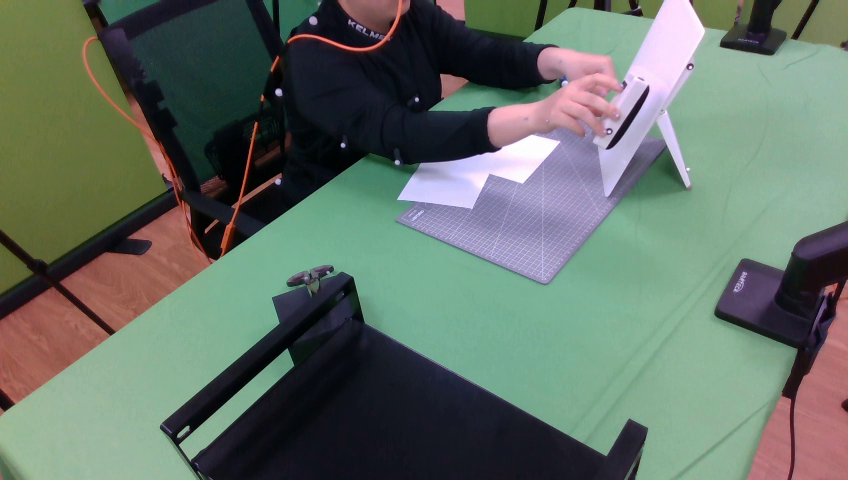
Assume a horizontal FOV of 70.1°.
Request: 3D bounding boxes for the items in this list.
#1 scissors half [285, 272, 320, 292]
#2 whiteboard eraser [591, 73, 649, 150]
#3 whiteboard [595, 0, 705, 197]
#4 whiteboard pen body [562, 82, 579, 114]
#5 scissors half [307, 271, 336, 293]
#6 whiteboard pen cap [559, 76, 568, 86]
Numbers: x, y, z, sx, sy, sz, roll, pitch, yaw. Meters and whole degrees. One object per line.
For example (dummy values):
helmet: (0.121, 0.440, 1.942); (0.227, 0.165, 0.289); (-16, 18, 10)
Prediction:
scissors half: (-0.171, 0.063, 0.868); (0.040, 0.013, 0.174); (-12, 7, -21)
whiteboard eraser: (0.297, -0.192, 0.912); (0.042, 0.112, 0.055); (27, 28, -1)
whiteboard: (0.421, -0.227, 1.009); (0.144, 0.305, 0.216); (16, 41, -3)
whiteboard pen body: (0.311, -0.311, 1.298); (0.017, 0.017, 0.140); (-5, 41, 3)
scissors half: (-0.151, 0.060, 0.873); (0.040, 0.013, 0.175); (-5, 6, -4)
whiteboard pen cap: (0.310, -0.351, 1.340); (0.018, 0.018, 0.033); (-6, 40, 2)
